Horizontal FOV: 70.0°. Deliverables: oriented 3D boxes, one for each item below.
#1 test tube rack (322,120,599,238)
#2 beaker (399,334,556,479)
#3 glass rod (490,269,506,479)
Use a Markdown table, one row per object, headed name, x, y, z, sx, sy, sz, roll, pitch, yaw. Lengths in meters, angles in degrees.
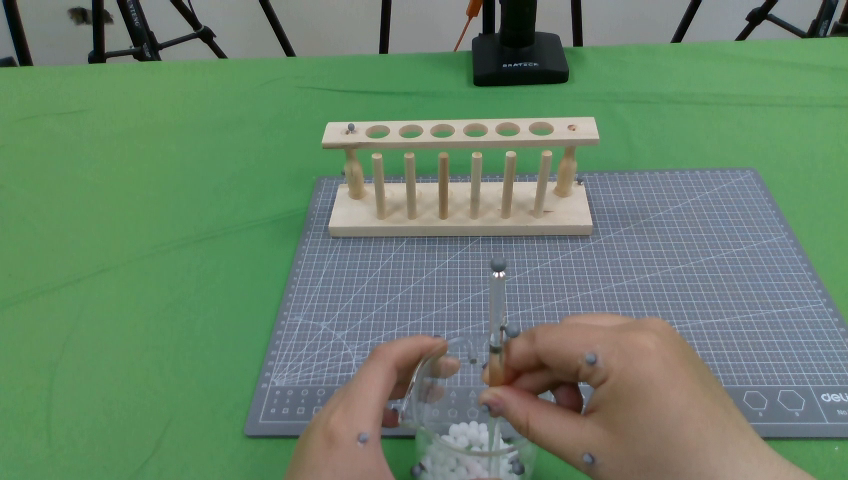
| name | x | y | z | sx | sy | sz | roll | pitch | yaw |
| --- | --- | --- | --- | --- | --- | --- | --- | --- | --- |
| test tube rack | 0.032 | -0.055 | 0.556 | 0.242 | 0.086 | 0.066 | 0 | 43 | 4 |
| beaker | 0.027 | 0.115 | 0.349 | 0.084 | 0.101 | 0.073 | -13 | 44 | -14 |
| glass rod | 0.037 | 0.086 | 0.300 | 0.008 | 0.201 | 0.008 | -3 | 42 | 3 |
